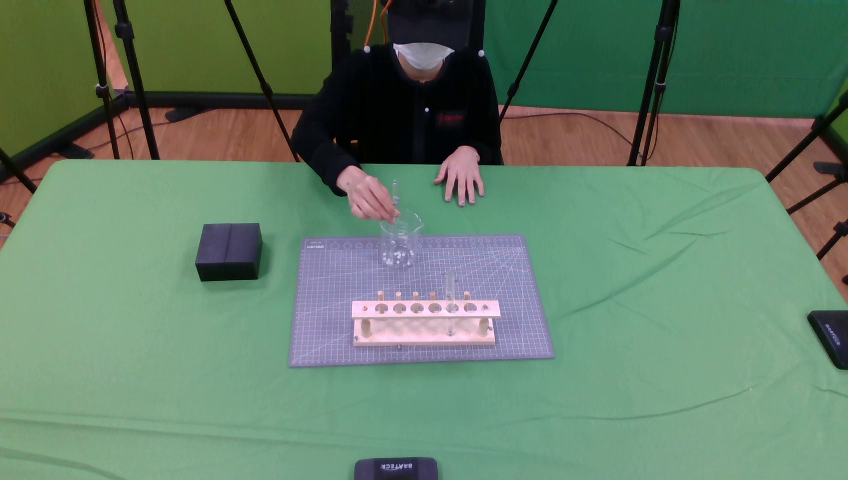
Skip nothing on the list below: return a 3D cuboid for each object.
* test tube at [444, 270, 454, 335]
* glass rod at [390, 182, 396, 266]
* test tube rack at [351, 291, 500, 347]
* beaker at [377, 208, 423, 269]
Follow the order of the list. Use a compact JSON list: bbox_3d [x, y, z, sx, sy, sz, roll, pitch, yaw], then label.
[{"bbox_3d":[0.041,0.105,0.983,0.017,0.151,0.017,-1,44,1],"label":"test tube"},{"bbox_3d":[-0.055,-0.024,1.086,0.008,0.200,0.008,2,43,-2],"label":"glass rod"},{"bbox_3d":[0.000,0.129,1.026,0.242,0.085,0.066,0,46,-4],"label":"test tube rack"},{"bbox_3d":[-0.046,0.000,1.138,0.084,0.101,0.073,3,46,-3],"label":"beaker"}]
